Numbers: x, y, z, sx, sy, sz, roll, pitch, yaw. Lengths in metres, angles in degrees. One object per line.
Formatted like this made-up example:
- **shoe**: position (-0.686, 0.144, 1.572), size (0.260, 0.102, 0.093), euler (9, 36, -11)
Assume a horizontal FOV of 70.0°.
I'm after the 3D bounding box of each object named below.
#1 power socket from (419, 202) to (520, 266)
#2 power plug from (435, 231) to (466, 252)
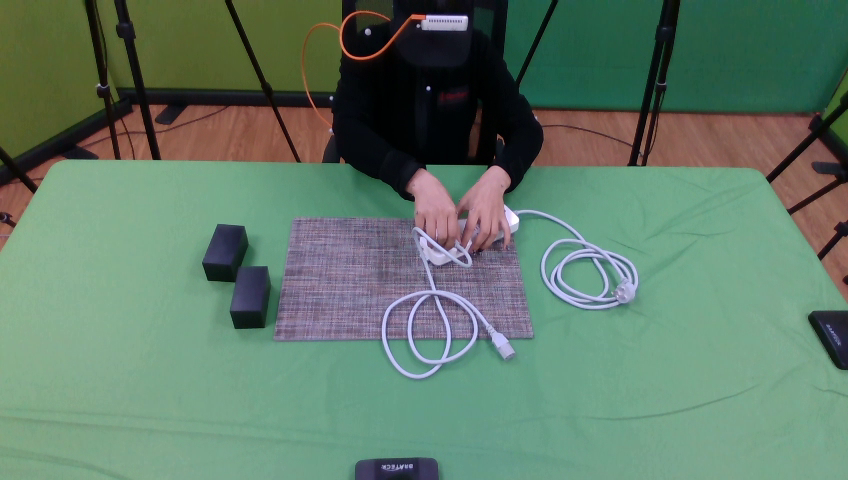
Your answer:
- **power socket**: position (0.093, -0.014, 1.204), size (0.227, 0.033, 0.072), euler (-23, 52, -24)
- **power plug**: position (0.047, 0.015, 1.141), size (0.035, 0.053, 0.072), euler (-14, 48, -16)
